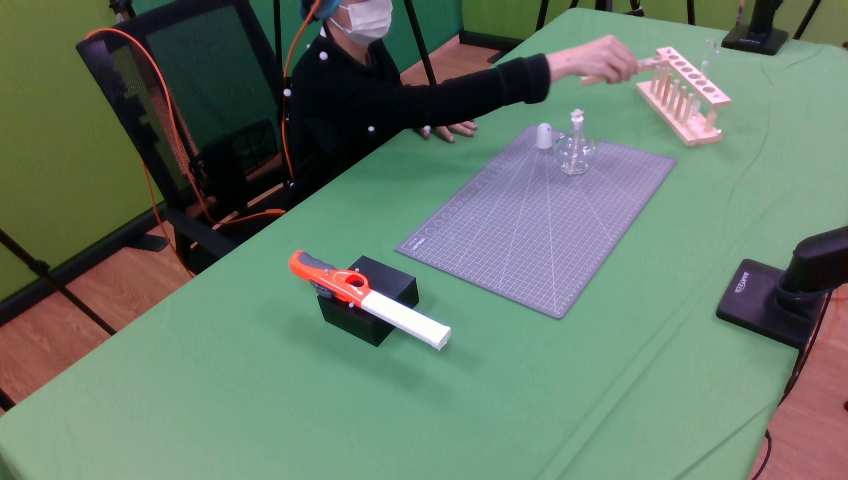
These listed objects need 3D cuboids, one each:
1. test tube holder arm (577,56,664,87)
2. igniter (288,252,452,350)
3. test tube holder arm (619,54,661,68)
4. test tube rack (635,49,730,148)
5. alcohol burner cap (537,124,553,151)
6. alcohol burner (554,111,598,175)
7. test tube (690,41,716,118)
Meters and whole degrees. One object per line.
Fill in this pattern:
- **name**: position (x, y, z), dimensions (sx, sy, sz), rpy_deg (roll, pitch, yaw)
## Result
- **test tube holder arm**: position (0.349, -0.299, 1.072), dimensions (0.179, 0.015, 0.013), rpy_deg (-19, 44, -15)
- **igniter**: position (-0.084, 0.077, 0.821), dimensions (0.274, 0.025, 0.057), rpy_deg (23, 48, 27)
- **test tube holder arm**: position (0.389, -0.317, 1.088), dimensions (0.088, 0.015, 0.010), rpy_deg (-19, 44, -15)
- **test tube rack**: position (0.497, -0.283, 1.185), dimensions (0.067, 0.085, 0.240), rpy_deg (-10, 40, -2)
- **alcohol burner cap**: position (0.231, -0.199, 1.158), dimensions (0.034, 0.048, 0.033), rpy_deg (-5, 41, 5)
- **alcohol burner**: position (0.270, -0.175, 1.066), dimensions (0.078, 0.119, 0.077), rpy_deg (-4, 42, 4)
- **test tube**: position (0.514, -0.293, 1.117), dimensions (0.017, 0.151, 0.017), rpy_deg (-3, 42, 3)
